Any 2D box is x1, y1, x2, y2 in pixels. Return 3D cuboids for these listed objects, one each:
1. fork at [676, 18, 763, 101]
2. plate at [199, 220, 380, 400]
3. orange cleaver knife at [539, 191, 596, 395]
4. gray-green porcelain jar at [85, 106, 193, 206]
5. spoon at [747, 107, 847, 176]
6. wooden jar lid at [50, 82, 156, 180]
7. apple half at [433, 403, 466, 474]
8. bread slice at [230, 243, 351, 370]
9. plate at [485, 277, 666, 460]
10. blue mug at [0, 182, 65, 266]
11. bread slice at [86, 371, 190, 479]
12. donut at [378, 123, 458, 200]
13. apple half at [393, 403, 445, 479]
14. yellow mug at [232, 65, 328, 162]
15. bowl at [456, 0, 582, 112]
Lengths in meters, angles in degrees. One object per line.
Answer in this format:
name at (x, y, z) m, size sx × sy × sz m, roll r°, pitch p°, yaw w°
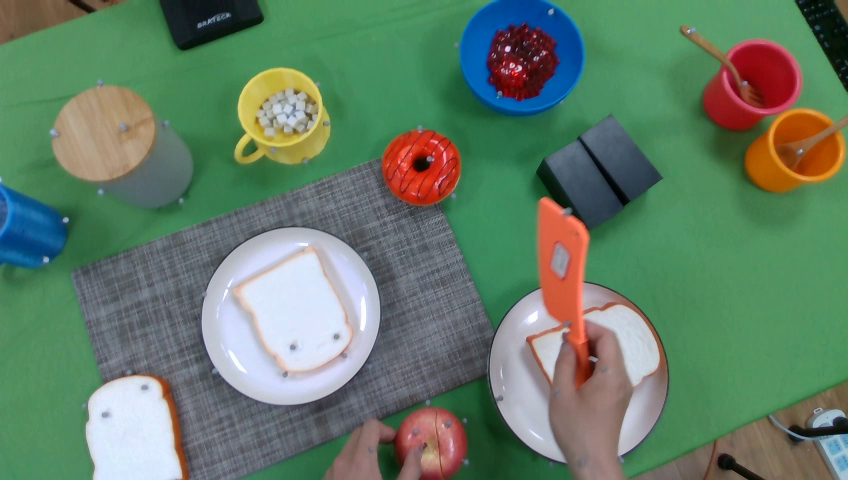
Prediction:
fork at (0.357, -0.213, 0.723) m, size 0.209 × 0.018 × 0.028 m, roll 19°, pitch 74°, yaw -39°
plate at (-0.155, 0.081, 0.712) m, size 0.208 × 0.039 × 0.206 m, roll 0°, pitch 80°, yaw -1°
orange cleaver knife at (0.140, 0.055, 0.595) m, size 0.012 × 0.076 × 0.213 m, roll -21°, pitch 115°, yaw -21°
gray-green porcelain jar at (-0.337, -0.101, 0.703) m, size 0.106 × 0.127 × 0.105 m, roll 0°, pitch 79°, yaw -1°
spoon at (0.476, -0.137, 0.710) m, size 0.022 × 0.194 × 0.041 m, roll -16°, pitch 73°, yaw -50°
wooden jar lid at (-0.337, -0.114, 0.642) m, size 0.108 × 0.021 × 0.108 m, roll 0°, pitch 78°, yaw 1°
apple half at (0.030, 0.217, 0.674) m, size 0.033 × 0.081 × 0.081 m, roll -8°, pitch 79°, yaw 3°
bread slice at (-0.148, 0.083, 0.713) m, size 0.107 × 0.018 × 0.134 m, roll -33°, pitch 81°, yaw -6°
plate at (0.174, 0.146, 0.708) m, size 0.209 × 0.038 × 0.208 m, roll 0°, pitch 79°, yaw -1°
blue mug at (-0.494, -0.007, 0.693) m, size 0.082 × 0.106 × 0.116 m, roll 41°, pitch 81°, yaw 7°
bread slice at (-0.334, 0.218, 0.694) m, size 0.105 × 0.019 × 0.131 m, roll -14°, pitch 81°, yaw -4°
donut at (-0.007, -0.096, 0.745) m, size 0.099 × 0.048 × 0.098 m, roll 0°, pitch 80°, yaw -1°
apple half at (-0.007, 0.224, 0.674) m, size 0.053 × 0.075 × 0.080 m, roll -10°, pitch 83°, yaw 4°
yellow mug at (-0.184, -0.144, 0.744) m, size 0.099 × 0.064 × 0.131 m, roll 44°, pitch 82°, yaw 7°
bowl at (0.113, -0.221, 0.756) m, size 0.151 × 0.077 × 0.151 m, roll 0°, pitch 80°, yaw -1°
